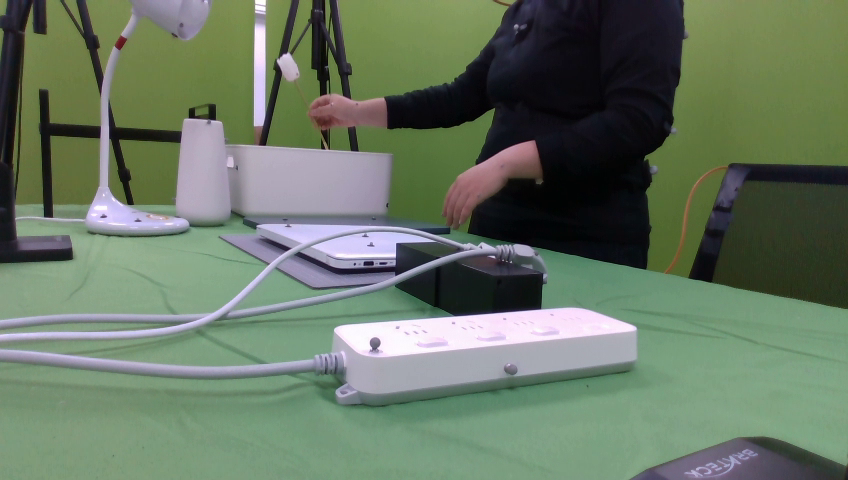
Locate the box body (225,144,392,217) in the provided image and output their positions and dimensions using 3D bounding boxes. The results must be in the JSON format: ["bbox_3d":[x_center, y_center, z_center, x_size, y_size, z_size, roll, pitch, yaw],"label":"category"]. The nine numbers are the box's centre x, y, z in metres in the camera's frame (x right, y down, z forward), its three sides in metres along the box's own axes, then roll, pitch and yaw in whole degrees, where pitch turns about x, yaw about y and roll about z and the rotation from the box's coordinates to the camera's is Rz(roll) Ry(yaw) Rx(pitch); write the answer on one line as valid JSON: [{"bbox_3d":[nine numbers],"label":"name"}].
[{"bbox_3d":[-0.289,-0.143,1.475,0.366,0.160,0.253,-1,9,-29],"label":"box body"}]

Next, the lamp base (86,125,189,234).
[{"bbox_3d":[-0.497,-0.105,1.027,0.179,0.180,0.160,1,7,3],"label":"lamp base"}]

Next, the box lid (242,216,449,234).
[{"bbox_3d":[-0.162,-0.030,1.233,0.373,0.015,0.262,-1,8,-32],"label":"box lid"}]

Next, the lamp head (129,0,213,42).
[{"bbox_3d":[-0.423,-0.394,0.980,0.123,0.112,0.112,20,7,-3],"label":"lamp head"}]

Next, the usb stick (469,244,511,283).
[{"bbox_3d":[0.080,0.029,0.674,0.059,0.021,0.027,28,26,-29],"label":"usb stick"}]

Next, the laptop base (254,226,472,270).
[{"bbox_3d":[-0.095,0.011,0.912,0.237,0.023,0.352,3,6,-32],"label":"laptop base"}]

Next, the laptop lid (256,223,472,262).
[{"bbox_3d":[-0.092,0.000,0.912,0.243,0.013,0.355,1,7,-30],"label":"laptop lid"}]

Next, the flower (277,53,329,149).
[{"bbox_3d":[-0.257,-0.272,1.454,0.038,0.362,0.044,-25,14,-4],"label":"flower"}]

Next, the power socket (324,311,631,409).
[{"bbox_3d":[0.042,0.075,0.410,0.228,0.032,0.072,-1,8,-25],"label":"power socket"}]

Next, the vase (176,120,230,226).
[{"bbox_3d":[-0.425,-0.128,1.159,0.098,0.200,0.098,2,9,0],"label":"vase"}]

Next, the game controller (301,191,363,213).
[{"bbox_3d":[-0.240,-0.098,1.550,0.155,0.051,0.097,3,9,5],"label":"game controller"}]

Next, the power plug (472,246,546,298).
[{"bbox_3d":[0.081,0.030,0.584,0.072,0.052,0.035,11,28,9],"label":"power plug"}]

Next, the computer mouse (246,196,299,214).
[{"bbox_3d":[-0.355,-0.083,1.418,0.117,0.041,0.063,0,10,7],"label":"computer mouse"}]
